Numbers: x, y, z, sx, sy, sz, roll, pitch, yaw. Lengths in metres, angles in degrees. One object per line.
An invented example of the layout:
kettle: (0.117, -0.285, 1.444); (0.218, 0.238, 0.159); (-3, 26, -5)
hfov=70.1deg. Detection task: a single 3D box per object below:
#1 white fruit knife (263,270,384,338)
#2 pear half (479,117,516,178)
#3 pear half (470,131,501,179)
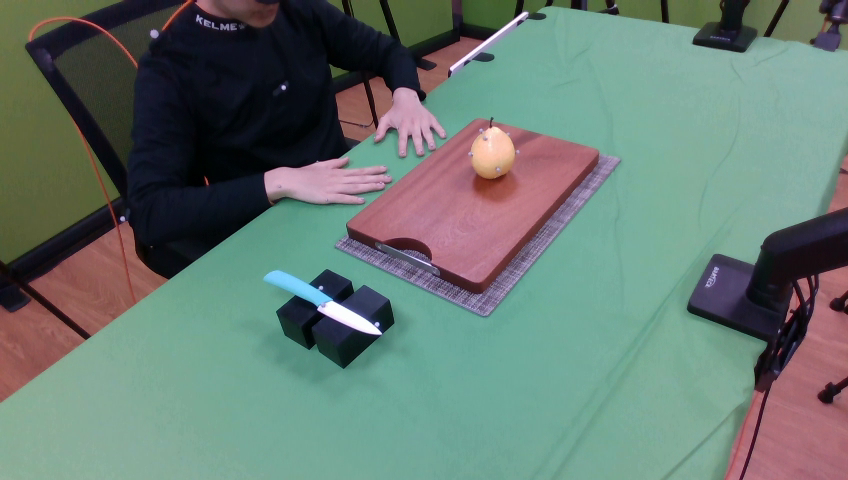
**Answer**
white fruit knife: (-0.137, 0.086, 0.821); (0.206, 0.016, 0.027); (24, 62, 26)
pear half: (0.126, -0.166, 1.031); (0.056, 0.110, 0.075); (-34, 51, -29)
pear half: (0.099, -0.141, 1.022); (0.031, 0.088, 0.070); (-34, 54, -30)
